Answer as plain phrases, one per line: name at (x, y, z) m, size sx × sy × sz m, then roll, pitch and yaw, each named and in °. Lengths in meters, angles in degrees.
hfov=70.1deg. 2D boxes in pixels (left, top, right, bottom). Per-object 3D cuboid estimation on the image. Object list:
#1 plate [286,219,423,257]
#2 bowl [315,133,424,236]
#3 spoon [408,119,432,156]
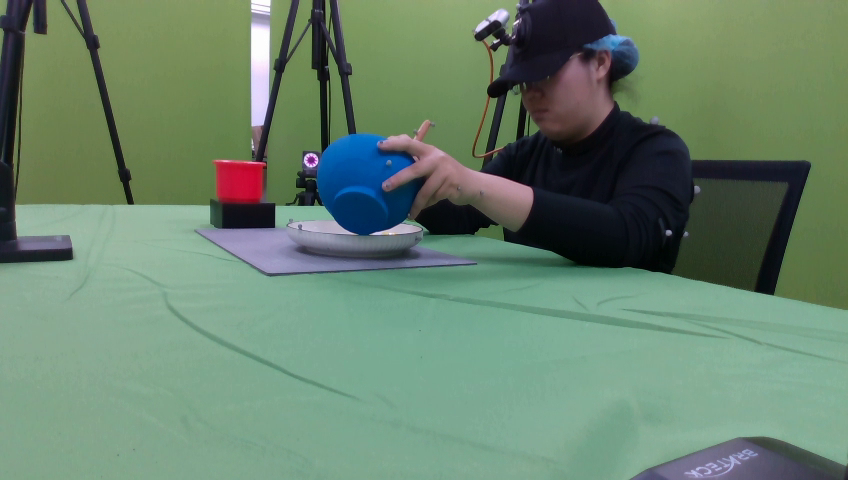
plate at (-0.105, -0.003, 0.922) m, size 0.208 × 0.039 × 0.207 m, roll 3°, pitch 7°, yaw 0°
bowl at (-0.079, -0.059, 0.808) m, size 0.151 × 0.151 × 0.077 m, roll 3°, pitch 42°, yaw 7°
spoon at (-0.037, -0.110, 0.913) m, size 0.041 × 0.194 × 0.022 m, roll 19°, pitch -28°, yaw 24°
